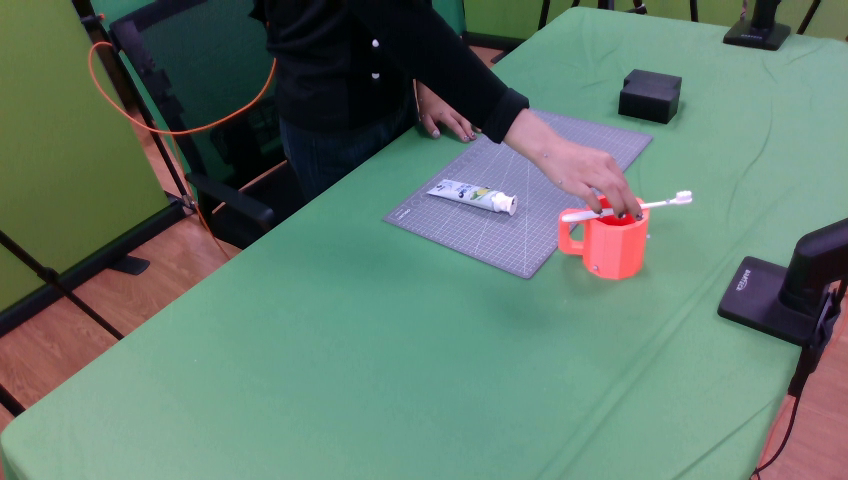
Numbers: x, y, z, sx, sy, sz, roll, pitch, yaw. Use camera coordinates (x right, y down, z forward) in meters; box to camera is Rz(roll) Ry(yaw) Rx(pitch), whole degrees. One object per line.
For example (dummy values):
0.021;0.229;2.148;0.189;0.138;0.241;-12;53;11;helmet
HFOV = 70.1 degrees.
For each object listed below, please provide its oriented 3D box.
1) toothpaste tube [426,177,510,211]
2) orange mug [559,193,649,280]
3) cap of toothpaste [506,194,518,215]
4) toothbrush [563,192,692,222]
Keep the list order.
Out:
0.083;-0.081;1.054;0.164;0.034;0.055;18;40;34;toothpaste tube
0.261;-0.008;0.884;0.126;0.101;0.083;9;43;14;orange mug
0.146;-0.059;1.008;0.011;0.037;0.037;14;46;22;cap of toothpaste
0.284;-0.045;0.842;0.182;0.017;0.014;-9;44;0;toothbrush
